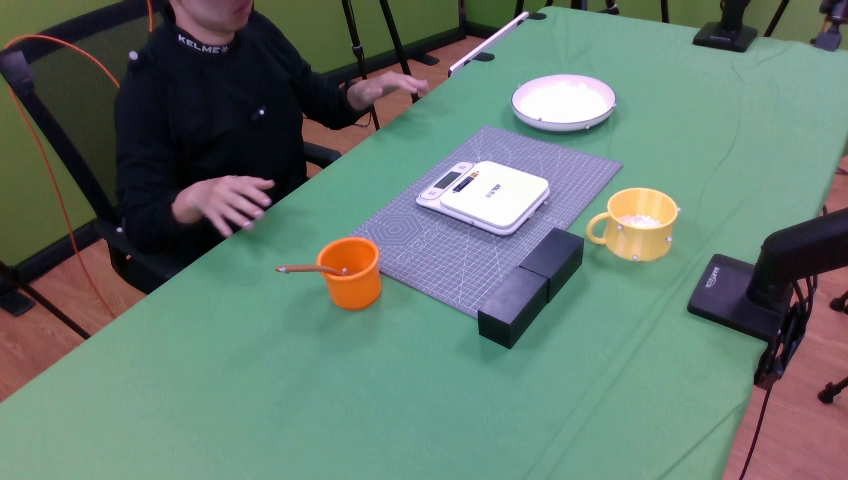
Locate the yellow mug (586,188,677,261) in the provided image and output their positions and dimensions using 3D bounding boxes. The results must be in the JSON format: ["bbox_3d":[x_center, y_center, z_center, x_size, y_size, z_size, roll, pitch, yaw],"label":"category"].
[{"bbox_3d":[0.311,-0.022,0.916,0.131,0.064,0.099,-8,40,0],"label":"yellow mug"}]

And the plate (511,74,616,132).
[{"bbox_3d":[0.283,-0.276,1.238,0.209,0.038,0.208,-4,41,4],"label":"plate"}]

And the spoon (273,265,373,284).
[{"bbox_3d":[-0.136,0.045,0.839,0.041,0.195,0.021,18,91,33],"label":"spoon"}]

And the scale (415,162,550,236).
[{"bbox_3d":[0.099,-0.079,1.035,0.199,0.032,0.149,23,48,31],"label":"scale"}]
